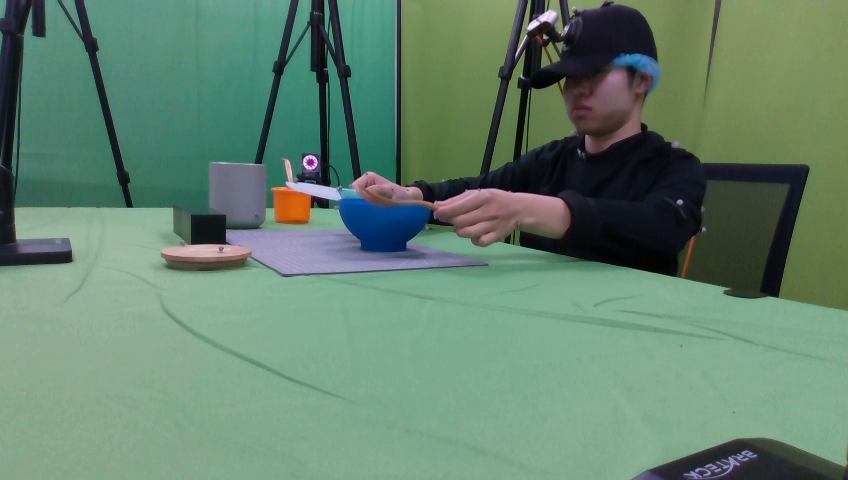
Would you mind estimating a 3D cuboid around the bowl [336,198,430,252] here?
[{"bbox_3d":[-0.066,-0.024,0.966,0.151,0.077,0.151,2,7,0],"label":"bowl"}]

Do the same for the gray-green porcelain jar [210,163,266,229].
[{"bbox_3d":[-0.367,-0.088,1.195,0.106,0.126,0.106,3,8,0],"label":"gray-green porcelain jar"}]

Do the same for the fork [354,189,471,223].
[{"bbox_3d":[-0.008,-0.045,0.843,0.208,0.018,0.028,7,-27,-43],"label":"fork"}]

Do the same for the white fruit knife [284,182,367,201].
[{"bbox_3d":[-0.148,-0.079,1.057,0.208,0.027,0.016,8,-20,-39],"label":"white fruit knife"}]

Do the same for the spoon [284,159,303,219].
[{"bbox_3d":[-0.302,-0.118,1.370,0.042,0.193,0.021,4,-39,-24],"label":"spoon"}]

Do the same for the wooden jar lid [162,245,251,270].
[{"bbox_3d":[-0.278,0.022,0.777,0.108,0.020,0.108,2,6,0],"label":"wooden jar lid"}]
